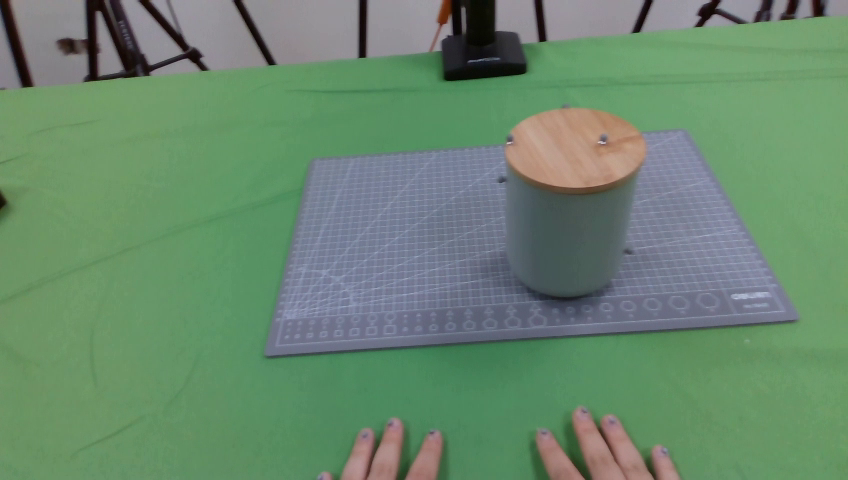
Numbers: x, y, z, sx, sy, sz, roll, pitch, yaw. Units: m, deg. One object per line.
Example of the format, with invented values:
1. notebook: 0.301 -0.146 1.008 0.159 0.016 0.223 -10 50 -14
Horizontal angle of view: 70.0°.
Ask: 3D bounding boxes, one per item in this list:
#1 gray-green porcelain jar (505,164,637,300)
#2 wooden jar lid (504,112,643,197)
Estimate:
1. gray-green porcelain jar: 0.123 -0.019 0.525 0.106 0.128 0.105 -4 42 4
2. wooden jar lid: 0.118 -0.066 0.484 0.108 0.021 0.107 -4 42 4
